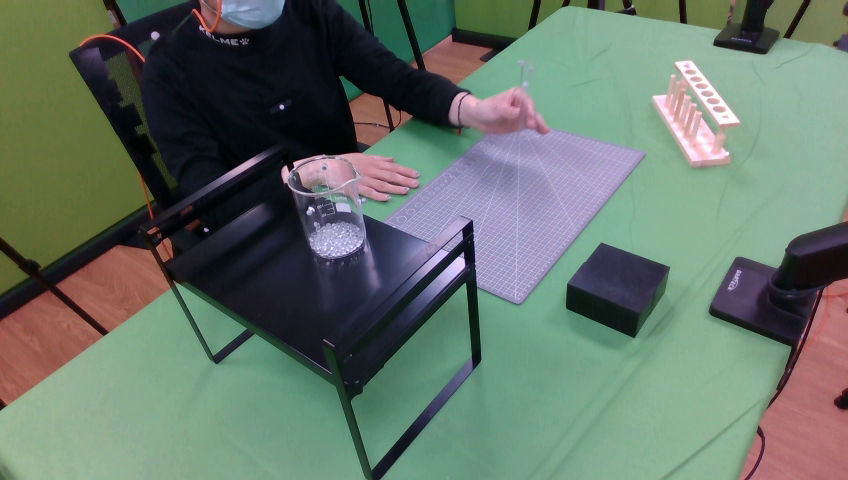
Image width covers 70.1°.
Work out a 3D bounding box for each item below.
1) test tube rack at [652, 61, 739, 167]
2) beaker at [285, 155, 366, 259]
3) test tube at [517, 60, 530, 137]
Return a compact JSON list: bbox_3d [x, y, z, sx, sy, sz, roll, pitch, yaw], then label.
[{"bbox_3d":[0.499,-0.242,1.130,0.067,0.085,0.241,-5,41,4],"label":"test tube rack"},{"bbox_3d":[-0.105,-0.035,0.691,0.084,0.101,0.073,-4,41,3],"label":"beaker"},{"bbox_3d":[0.163,-0.229,0.996,0.017,0.151,0.017,-3,50,4],"label":"test tube"}]
